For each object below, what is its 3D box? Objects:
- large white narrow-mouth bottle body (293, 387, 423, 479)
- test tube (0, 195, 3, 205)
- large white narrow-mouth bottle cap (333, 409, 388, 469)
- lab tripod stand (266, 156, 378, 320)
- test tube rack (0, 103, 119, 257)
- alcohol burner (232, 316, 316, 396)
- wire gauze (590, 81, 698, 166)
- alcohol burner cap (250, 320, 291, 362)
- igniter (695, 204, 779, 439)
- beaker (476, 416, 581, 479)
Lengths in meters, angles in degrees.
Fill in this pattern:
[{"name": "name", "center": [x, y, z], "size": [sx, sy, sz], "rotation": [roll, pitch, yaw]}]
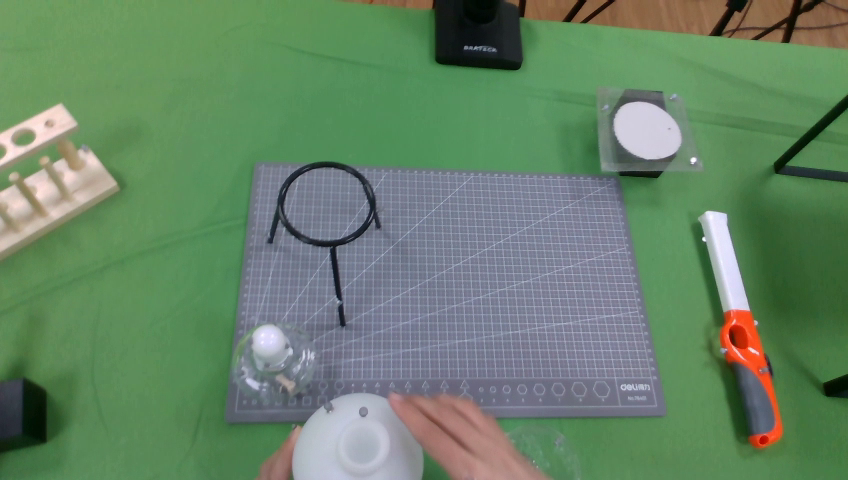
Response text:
[{"name": "large white narrow-mouth bottle body", "center": [-0.052, 0.172, 0.482], "size": [0.102, 0.196, 0.101], "rotation": [3, 64, -6]}, {"name": "test tube", "center": [-0.440, -0.077, 0.574], "size": [0.017, 0.151, 0.017], "rotation": [4, 59, -6]}, {"name": "large white narrow-mouth bottle cap", "center": [-0.043, 0.132, 0.404], "size": [0.038, 0.024, 0.037], "rotation": [3, 64, -6]}, {"name": "lab tripod stand", "center": [-0.097, -0.008, 0.611], "size": [0.149, 0.132, 0.147], "rotation": [4, 64, -7]}, {"name": "test tube rack", "center": [-0.447, -0.031, 0.606], "size": [0.242, 0.086, 0.066], "rotation": [-38, 74, -22]}, {"name": "alcohol burner", "center": [-0.140, 0.102, 0.562], "size": [0.078, 0.120, 0.077], "rotation": [4, 62, -7]}, {"name": "wire gauze", "center": [0.267, -0.142, 0.743], "size": [0.122, 0.011, 0.124], "rotation": [3, 64, -6]}, {"name": "alcohol burner cap", "center": [-0.136, 0.087, 0.529], "size": [0.034, 0.048, 0.033], "rotation": [2, 69, -6]}, {"name": "igniter", "center": [0.352, 0.083, 0.687], "size": [0.057, 0.025, 0.274], "rotation": [7, 63, -16]}, {"name": "beaker", "center": [0.087, 0.206, 0.553], "size": [0.084, 0.101, 0.073], "rotation": [27, 63, 7]}]
